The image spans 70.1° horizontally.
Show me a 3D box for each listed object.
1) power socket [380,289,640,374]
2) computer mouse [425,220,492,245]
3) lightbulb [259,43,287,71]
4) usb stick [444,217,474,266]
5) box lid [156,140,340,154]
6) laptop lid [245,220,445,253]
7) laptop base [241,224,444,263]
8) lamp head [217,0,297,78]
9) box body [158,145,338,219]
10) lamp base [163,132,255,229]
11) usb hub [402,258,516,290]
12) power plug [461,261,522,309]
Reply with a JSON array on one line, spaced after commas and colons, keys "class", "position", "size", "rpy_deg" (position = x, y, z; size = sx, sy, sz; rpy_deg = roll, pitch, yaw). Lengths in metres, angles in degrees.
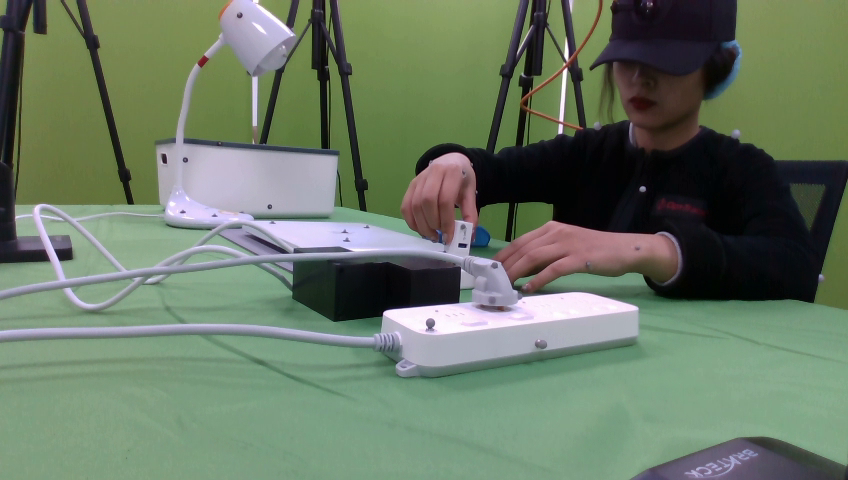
[{"class": "power socket", "position": [0.072, 0.064, 0.461], "size": [0.228, 0.032, 0.072], "rpy_deg": [-3, 7, -30]}, {"class": "computer mouse", "position": [0.060, -0.013, 1.059], "size": [0.117, 0.041, 0.062], "rpy_deg": [-3, 10, -6]}, {"class": "lightbulb", "position": [-0.295, -0.357, 1.102], "size": [0.059, 0.107, 0.059], "rpy_deg": [-38, 2, 2]}, {"class": "usb stick", "position": [0.038, 0.005, 0.684], "size": [0.021, 0.059, 0.027], "rpy_deg": [7, 5, -33]}, {"class": "box lid", "position": [-0.409, -0.212, 1.404], "size": [0.373, 0.015, 0.262], "rpy_deg": [-2, 8, -32]}, {"class": "laptop lid", "position": [-0.124, -0.009, 0.945], "size": [0.243, 0.013, 0.355], "rpy_deg": [1, 7, -29]}, {"class": "laptop base", "position": [-0.126, 0.003, 0.945], "size": [0.237, 0.023, 0.352], "rpy_deg": [2, 6, -31]}, {"class": "lamp head", "position": [-0.315, -0.372, 1.102], "size": [0.123, 0.112, 0.112], "rpy_deg": [41, 2, -9]}, {"class": "box body", "position": [-0.410, -0.139, 1.414], "size": [0.366, 0.160, 0.253], "rpy_deg": [-3, 9, -33]}, {"class": "lamp base", "position": [-0.420, -0.116, 1.156], "size": [0.179, 0.180, 0.160], "rpy_deg": [0, 7, 0]}, {"class": "usb hub", "position": [0.042, 0.038, 0.690], "size": [0.126, 0.025, 0.049], "rpy_deg": [-2, 10, -30]}, {"class": "power plug", "position": [0.043, 0.043, 0.444], "size": [0.035, 0.052, 0.073], "rpy_deg": [-5, 8, 43]}]
